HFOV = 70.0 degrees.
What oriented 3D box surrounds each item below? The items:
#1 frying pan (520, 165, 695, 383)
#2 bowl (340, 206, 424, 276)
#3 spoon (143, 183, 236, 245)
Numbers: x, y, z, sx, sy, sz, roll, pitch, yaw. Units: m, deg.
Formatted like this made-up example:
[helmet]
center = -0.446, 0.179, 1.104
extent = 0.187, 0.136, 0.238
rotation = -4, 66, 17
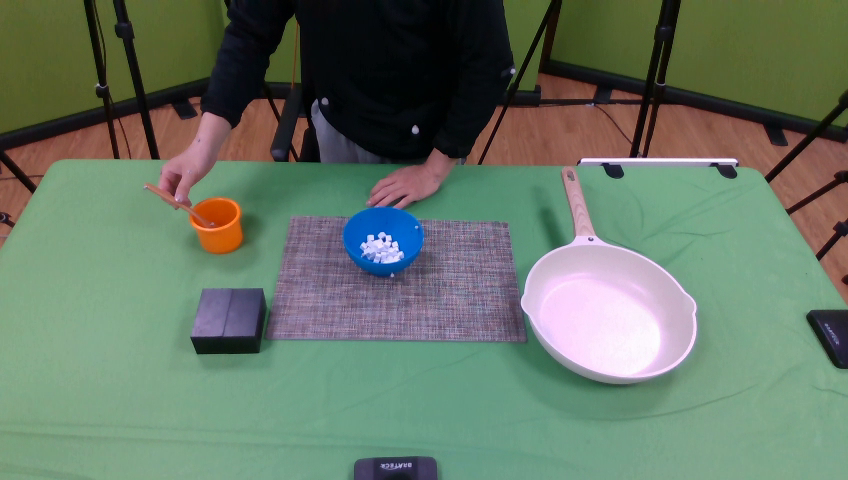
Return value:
[frying pan]
center = 0.312, 0.044, 1.123
extent = 0.307, 0.103, 0.484
rotation = 1, 55, -5
[bowl]
center = -0.079, 0.014, 1.133
extent = 0.151, 0.077, 0.150
rotation = 2, 46, -2
[spoon]
center = -0.428, -0.049, 1.116
extent = 0.021, 0.195, 0.041
rotation = -29, 38, 23
